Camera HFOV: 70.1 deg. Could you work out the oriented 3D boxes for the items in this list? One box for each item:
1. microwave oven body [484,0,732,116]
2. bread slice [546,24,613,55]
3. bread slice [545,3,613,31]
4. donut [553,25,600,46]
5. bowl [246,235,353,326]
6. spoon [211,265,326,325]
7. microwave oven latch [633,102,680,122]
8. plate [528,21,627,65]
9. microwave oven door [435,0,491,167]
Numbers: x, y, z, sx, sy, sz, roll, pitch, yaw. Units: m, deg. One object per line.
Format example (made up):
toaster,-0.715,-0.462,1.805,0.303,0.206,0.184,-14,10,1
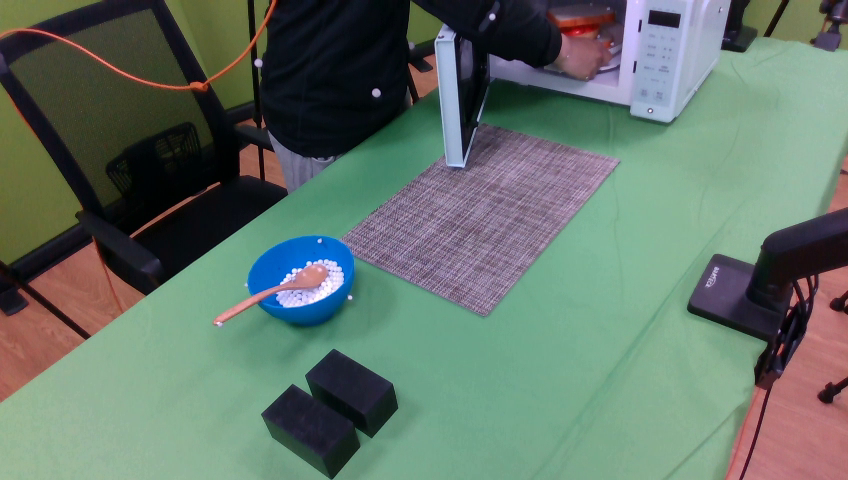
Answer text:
microwave oven body,0.377,-0.463,1.267,0.438,0.261,0.327,21,49,30
bread slice,0.340,-0.441,1.315,0.135,0.018,0.106,-9,51,-8
bread slice,0.331,-0.476,1.282,0.131,0.019,0.104,-9,37,1
donut,0.326,-0.447,1.295,0.099,0.048,0.098,-3,36,2
bowl,-0.170,0.070,0.868,0.151,0.077,0.150,-4,41,4
spoon,-0.207,0.072,0.822,0.041,0.021,0.195,27,29,27
microwave oven latch,0.443,-0.249,1.158,0.078,0.029,0.030,21,49,30
plate,0.332,-0.431,1.318,0.207,0.039,0.206,-4,41,4
microwave oven door,0.083,-0.340,1.159,0.039,0.245,0.355,4,42,13
